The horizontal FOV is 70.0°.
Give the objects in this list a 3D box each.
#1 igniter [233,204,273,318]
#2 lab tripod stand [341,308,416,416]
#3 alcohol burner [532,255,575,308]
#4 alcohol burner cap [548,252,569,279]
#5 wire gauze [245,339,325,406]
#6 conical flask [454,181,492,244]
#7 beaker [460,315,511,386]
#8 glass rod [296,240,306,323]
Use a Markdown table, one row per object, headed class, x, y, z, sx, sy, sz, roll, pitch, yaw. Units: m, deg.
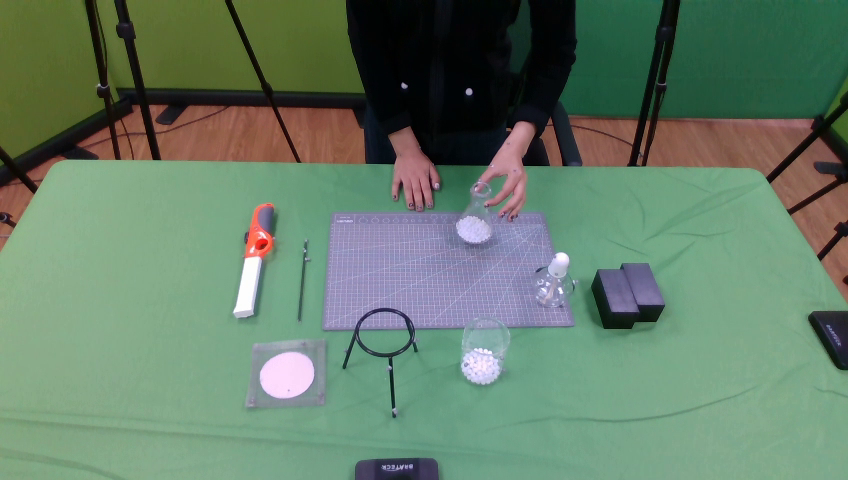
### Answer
| class | x | y | z | sx | sy | sz | roll | pitch | yaw |
| --- | --- | --- | --- | --- | --- | --- | --- | --- | --- |
| igniter | -0.321 | 0.029 | 1.143 | 0.057 | 0.025 | 0.274 | -7 | 46 | 3 |
| lab tripod stand | -0.061 | 0.177 | 0.946 | 0.148 | 0.132 | 0.147 | 2 | 44 | -2 |
| alcohol burner | 0.235 | 0.066 | 1.087 | 0.078 | 0.119 | 0.077 | 4 | 45 | -3 |
| alcohol burner cap | 0.238 | 0.042 | 1.060 | 0.034 | 0.048 | 0.033 | 1 | 52 | -1 |
| wire gauze | -0.224 | 0.215 | 0.984 | 0.125 | 0.011 | 0.120 | -2 | 46 | -5 |
| conical flask | 0.101 | -0.055 | 1.160 | 0.075 | 0.122 | 0.075 | 3 | 49 | -3 |
| beaker | 0.094 | 0.183 | 0.977 | 0.084 | 0.101 | 0.073 | -20 | 51 | -21 |
| glass rod | -0.227 | 0.072 | 1.121 | 0.008 | 0.008 | 0.198 | -1 | 46 | -5 |
